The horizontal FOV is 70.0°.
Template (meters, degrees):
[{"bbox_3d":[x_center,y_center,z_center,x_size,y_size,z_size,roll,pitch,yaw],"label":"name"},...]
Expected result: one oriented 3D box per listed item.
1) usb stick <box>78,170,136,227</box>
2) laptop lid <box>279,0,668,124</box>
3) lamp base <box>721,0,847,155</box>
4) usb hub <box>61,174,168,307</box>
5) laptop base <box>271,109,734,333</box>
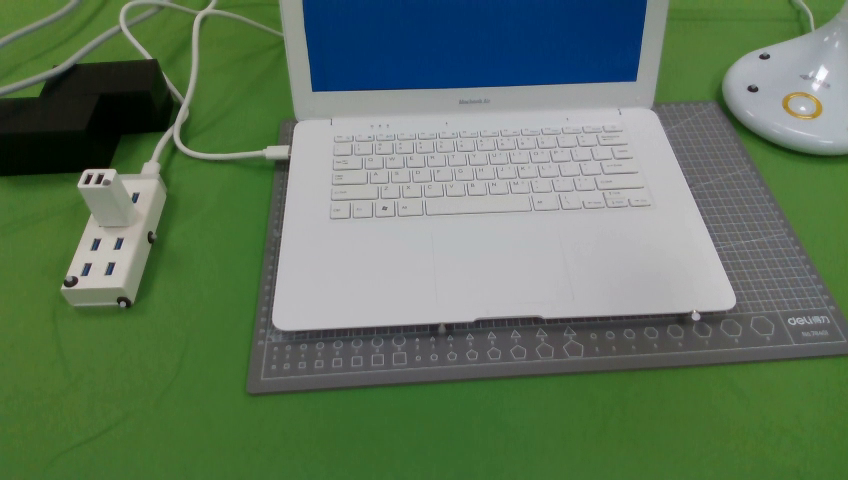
[{"bbox_3d":[-0.249,-0.027,0.484,0.027,0.060,0.021,-4,50,-1],"label":"usb stick"},{"bbox_3d":[0.047,-0.220,0.543,0.357,0.243,0.013,-4,29,-2],"label":"laptop lid"},{"bbox_3d":[0.393,-0.202,0.569,0.160,0.182,0.178,21,51,17],"label":"lamp base"},{"bbox_3d":[-0.252,-0.003,0.502,0.049,0.025,0.124,-2,50,-1],"label":"usb hub"},{"bbox_3d":[0.056,-0.026,0.527,0.354,0.023,0.233,-2,54,-2],"label":"laptop base"}]
